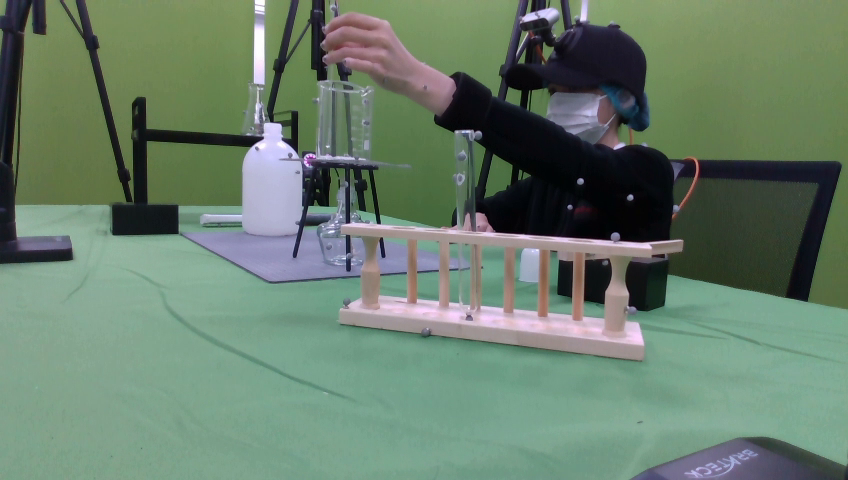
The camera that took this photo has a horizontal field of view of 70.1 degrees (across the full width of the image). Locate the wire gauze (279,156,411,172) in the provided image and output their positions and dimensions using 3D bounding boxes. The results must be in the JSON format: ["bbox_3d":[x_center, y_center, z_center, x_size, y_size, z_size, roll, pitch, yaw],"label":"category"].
[{"bbox_3d":[-0.103,-0.103,0.785,0.121,0.011,0.126,11,8,42],"label":"wire gauze"}]

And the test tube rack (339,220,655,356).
[{"bbox_3d":[0.056,0.032,0.495,0.242,0.085,0.067,4,7,15],"label":"test tube rack"}]

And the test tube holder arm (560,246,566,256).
[{"bbox_3d":[0.173,0.007,0.611,0.088,0.015,0.010,-3,10,-29],"label":"test tube holder arm"}]

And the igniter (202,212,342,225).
[{"bbox_3d":[-0.298,-0.043,1.216,0.278,0.025,0.057,-3,-2,-32],"label":"igniter"}]

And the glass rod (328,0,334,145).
[{"bbox_3d":[-0.117,-0.220,0.763,0.008,0.199,0.008,3,15,0],"label":"glass rod"}]

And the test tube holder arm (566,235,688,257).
[{"bbox_3d":[0.215,0.006,0.629,0.179,0.015,0.013,-3,10,-30],"label":"test tube holder arm"}]

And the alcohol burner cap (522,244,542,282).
[{"bbox_3d":[0.136,0.026,0.741,0.034,0.048,0.034,0,6,0],"label":"alcohol burner cap"}]

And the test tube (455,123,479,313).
[{"bbox_3d":[0.034,-0.016,0.476,0.017,0.150,0.017,-2,9,1],"label":"test tube"}]

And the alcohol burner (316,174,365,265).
[{"bbox_3d":[-0.102,-0.028,0.790,0.078,0.119,0.078,0,6,0],"label":"alcohol burner"}]

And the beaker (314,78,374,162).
[{"bbox_3d":[-0.101,-0.150,0.774,0.074,0.100,0.083,-2,8,-40],"label":"beaker"}]

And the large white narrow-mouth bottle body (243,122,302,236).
[{"bbox_3d":[-0.264,-0.109,1.061,0.102,0.194,0.102,2,8,0],"label":"large white narrow-mouth bottle body"}]

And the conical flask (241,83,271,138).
[{"bbox_3d":[-0.384,-0.297,1.393,0.075,0.122,0.075,2,7,0],"label":"conical flask"}]

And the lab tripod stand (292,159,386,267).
[{"bbox_3d":[-0.105,-0.039,0.798,0.148,0.131,0.148,2,5,0],"label":"lab tripod stand"}]

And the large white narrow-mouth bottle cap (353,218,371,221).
[{"bbox_3d":[-0.120,-0.029,1.184,0.038,0.024,0.037,2,8,0],"label":"large white narrow-mouth bottle cap"}]
